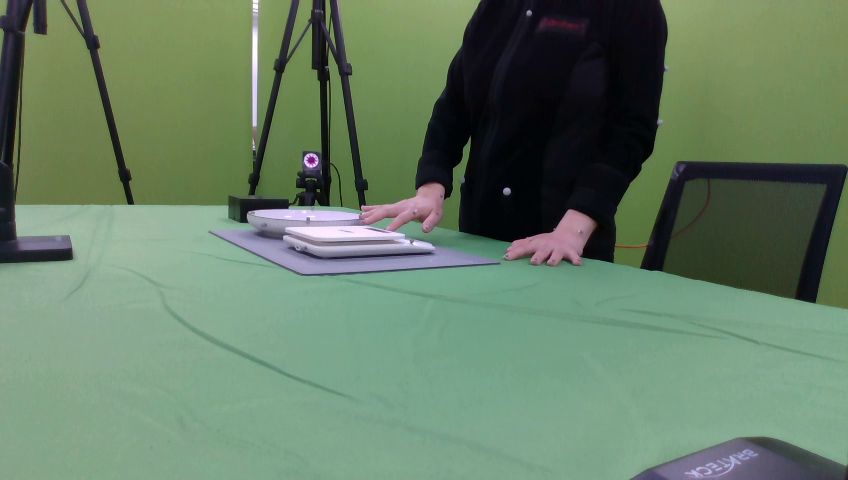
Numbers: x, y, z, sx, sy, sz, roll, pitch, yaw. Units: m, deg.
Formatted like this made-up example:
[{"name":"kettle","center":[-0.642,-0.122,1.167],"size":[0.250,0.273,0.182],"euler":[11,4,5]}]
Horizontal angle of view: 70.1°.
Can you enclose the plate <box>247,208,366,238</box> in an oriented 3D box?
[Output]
[{"name":"plate","center":[-0.208,-0.030,1.082],"size":[0.209,0.038,0.209],"euler":[2,7,0]}]

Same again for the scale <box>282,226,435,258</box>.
[{"name":"scale","center":[-0.098,0.000,0.914],"size":[0.202,0.031,0.148],"euler":[-2,9,-33]}]
